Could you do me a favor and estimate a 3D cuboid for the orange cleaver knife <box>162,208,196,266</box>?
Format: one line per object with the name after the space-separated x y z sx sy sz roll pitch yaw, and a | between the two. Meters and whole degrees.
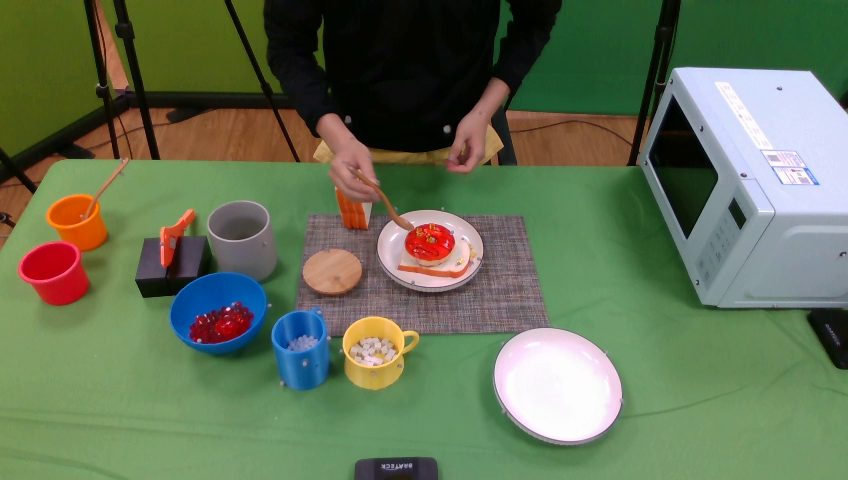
-0.454 -0.010 1.129 0.012 0.077 0.210 -1 17 -6 | orange cleaver knife

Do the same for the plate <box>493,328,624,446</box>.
0.213 0.236 0.974 0.208 0.039 0.206 2 46 -2 | plate

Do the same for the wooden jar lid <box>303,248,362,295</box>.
-0.169 0.060 1.122 0.108 0.021 0.107 2 46 -2 | wooden jar lid

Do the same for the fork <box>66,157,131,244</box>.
-0.608 -0.074 1.132 0.207 0.019 0.028 -52 48 10 | fork

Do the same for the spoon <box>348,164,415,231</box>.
-0.069 -0.071 1.017 0.021 0.195 0.041 -37 46 3 | spoon

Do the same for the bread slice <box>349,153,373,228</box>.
-0.125 -0.104 1.207 0.018 0.135 0.106 0 48 7 | bread slice

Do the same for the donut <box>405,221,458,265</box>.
0.014 0.004 1.136 0.099 0.048 0.098 0 45 1 | donut

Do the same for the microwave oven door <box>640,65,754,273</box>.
0.523 -0.147 1.193 0.039 0.245 0.353 0 47 -3 | microwave oven door

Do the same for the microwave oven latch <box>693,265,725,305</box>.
0.522 0.081 1.115 0.030 0.029 0.078 2 46 -1 | microwave oven latch

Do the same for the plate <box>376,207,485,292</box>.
0.012 0.021 1.159 0.209 0.038 0.208 2 47 -2 | plate

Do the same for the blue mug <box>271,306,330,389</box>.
-0.188 0.163 0.969 0.082 0.106 0.116 15 47 10 | blue mug

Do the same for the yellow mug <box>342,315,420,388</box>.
-0.068 0.177 0.990 0.131 0.064 0.099 -15 50 -19 | yellow mug

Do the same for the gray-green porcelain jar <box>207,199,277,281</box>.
-0.323 0.007 1.092 0.106 0.127 0.105 2 46 -2 | gray-green porcelain jar

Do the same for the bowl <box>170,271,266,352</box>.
-0.334 0.132 1.006 0.151 0.077 0.150 2 46 -2 | bowl

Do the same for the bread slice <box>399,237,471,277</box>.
0.025 0.025 1.161 0.131 0.019 0.104 7 47 8 | bread slice

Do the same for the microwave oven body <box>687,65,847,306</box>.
0.669 -0.111 1.176 0.326 0.261 0.439 0 46 -3 | microwave oven body
